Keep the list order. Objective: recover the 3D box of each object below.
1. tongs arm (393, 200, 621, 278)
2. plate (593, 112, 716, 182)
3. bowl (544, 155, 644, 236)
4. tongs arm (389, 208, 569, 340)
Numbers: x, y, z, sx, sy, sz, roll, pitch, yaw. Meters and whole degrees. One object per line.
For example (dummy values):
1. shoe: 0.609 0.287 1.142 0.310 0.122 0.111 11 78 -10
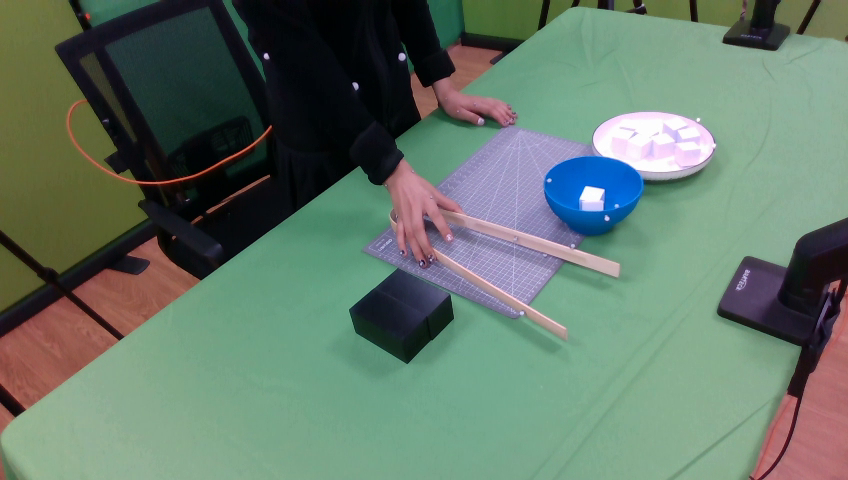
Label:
1. tongs arm: 0.113 -0.001 0.946 0.382 0.026 0.051 21 51 32
2. plate: 0.408 -0.163 1.084 0.207 0.039 0.206 -4 40 4
3. bowl: 0.266 -0.061 0.957 0.151 0.077 0.150 -5 40 5
4. tongs arm: 0.063 0.041 0.906 0.028 0.028 0.384 -38 47 -22
